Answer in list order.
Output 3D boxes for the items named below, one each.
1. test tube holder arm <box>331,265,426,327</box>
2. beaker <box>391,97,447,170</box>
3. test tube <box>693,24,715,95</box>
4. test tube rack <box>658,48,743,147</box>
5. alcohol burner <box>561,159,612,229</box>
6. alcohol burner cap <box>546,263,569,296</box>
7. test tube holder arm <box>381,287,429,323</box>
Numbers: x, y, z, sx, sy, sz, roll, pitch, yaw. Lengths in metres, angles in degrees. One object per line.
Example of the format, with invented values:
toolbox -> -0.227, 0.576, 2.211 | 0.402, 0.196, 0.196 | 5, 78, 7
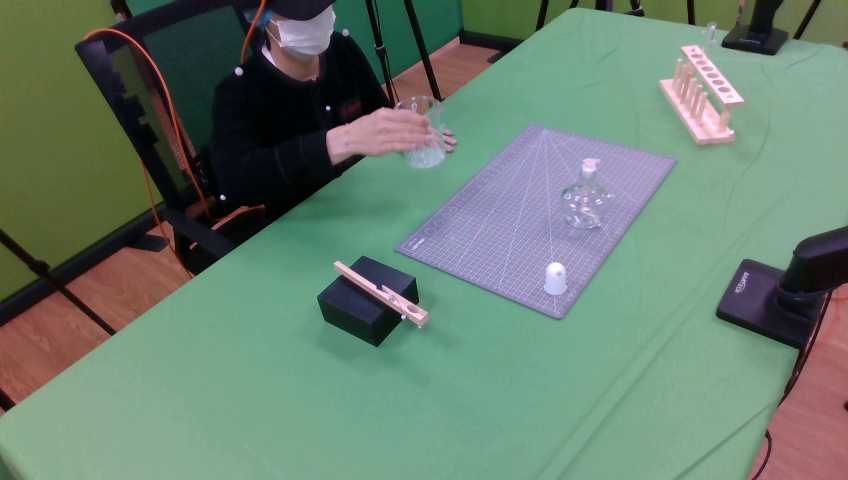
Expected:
test tube holder arm -> -0.066, 0.074, 0.828 | 0.177, 0.015, 0.013 | 25, 42, 33
beaker -> -0.002, -0.173, 0.988 | 0.084, 0.101, 0.073 | -9, 39, 5
test tube -> 0.543, -0.348, 1.177 | 0.017, 0.151, 0.017 | -5, 45, 5
test tube rack -> 0.532, -0.284, 1.181 | 0.067, 0.085, 0.241 | -5, 40, 4
alcohol burner -> 0.257, -0.077, 0.951 | 0.078, 0.119, 0.077 | -3, 40, 3
alcohol burner cap -> 0.191, 0.053, 0.862 | 0.034, 0.048, 0.033 | -5, 40, 4
test tube holder arm -> -0.028, 0.087, 0.807 | 0.087, 0.015, 0.010 | 25, 42, 33
